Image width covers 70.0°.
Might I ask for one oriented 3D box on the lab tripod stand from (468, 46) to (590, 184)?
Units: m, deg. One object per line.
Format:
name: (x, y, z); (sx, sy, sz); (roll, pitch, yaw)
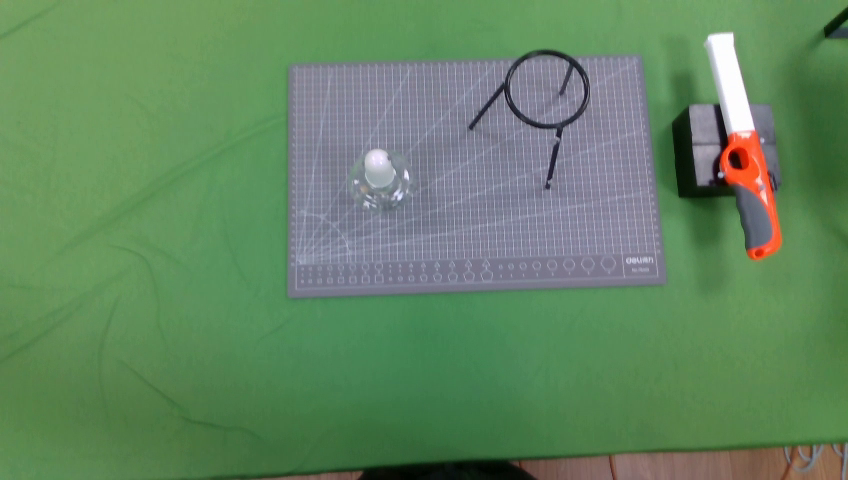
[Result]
lab tripod stand: (0.128, -0.151, 0.689); (0.148, 0.132, 0.147); (0, 77, -1)

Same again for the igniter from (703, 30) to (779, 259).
igniter: (0.364, -0.114, 0.697); (0.057, 0.025, 0.275); (-5, 77, 0)

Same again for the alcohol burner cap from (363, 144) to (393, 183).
alcohol burner cap: (-0.050, -0.085, 0.646); (0.034, 0.048, 0.033); (1, 72, -2)

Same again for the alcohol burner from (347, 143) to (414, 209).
alcohol burner: (-0.050, -0.076, 0.681); (0.078, 0.119, 0.077); (0, 81, 0)
